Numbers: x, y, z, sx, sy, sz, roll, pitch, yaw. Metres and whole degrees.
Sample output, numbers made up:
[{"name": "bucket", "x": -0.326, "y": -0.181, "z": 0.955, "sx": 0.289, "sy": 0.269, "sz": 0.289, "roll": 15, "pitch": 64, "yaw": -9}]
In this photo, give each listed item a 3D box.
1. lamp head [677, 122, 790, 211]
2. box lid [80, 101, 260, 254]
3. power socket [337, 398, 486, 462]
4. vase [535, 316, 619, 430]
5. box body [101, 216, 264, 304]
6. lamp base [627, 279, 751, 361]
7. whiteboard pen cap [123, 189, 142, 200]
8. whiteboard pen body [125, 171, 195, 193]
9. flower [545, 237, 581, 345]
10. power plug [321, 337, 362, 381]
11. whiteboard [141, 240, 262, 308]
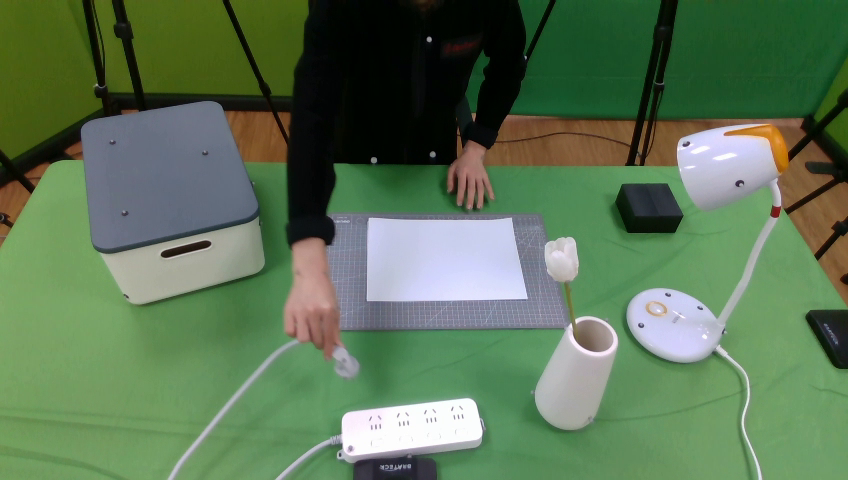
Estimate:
[{"name": "lamp head", "x": 0.423, "y": -0.104, "z": 0.819, "sx": 0.122, "sy": 0.113, "sz": 0.112, "roll": -13, "pitch": 33, "yaw": 39}, {"name": "box lid", "x": -0.461, "y": -0.127, "z": 1.082, "sx": 0.264, "sy": 0.015, "sz": 0.369, "roll": -15, "pitch": 49, "yaw": -19}, {"name": "power socket", "x": -0.017, "y": 0.285, "z": 0.914, "sx": 0.227, "sy": 0.033, "sz": 0.071, "roll": -4, "pitch": 46, "yaw": -8}, {"name": "vase", "x": 0.229, "y": 0.200, "z": 0.901, "sx": 0.098, "sy": 0.201, "sz": 0.097, "roll": 3, "pitch": 46, "yaw": -3}, {"name": "box body", "x": -0.465, "y": -0.076, "z": 1.137, "sx": 0.254, "sy": 0.161, "sz": 0.361, "roll": -16, "pitch": 50, "yaw": -19}, {"name": "lamp base", "x": 0.460, "y": 0.100, "z": 1.027, "sx": 0.178, "sy": 0.181, "sz": 0.160, "roll": 27, "pitch": 51, "yaw": 17}, {"name": "whiteboard pen cap", "x": -0.591, "y": -0.093, "z": 1.231, "sx": 0.033, "sy": 0.018, "sz": 0.018, "roll": -13, "pitch": 49, "yaw": -18}, {"name": "whiteboard pen body", "x": -0.553, "y": -0.119, "z": 1.270, "sx": 0.141, "sy": 0.017, "sz": 0.017, "roll": -18, "pitch": 50, "yaw": -15}, {"name": "flower", "x": 0.213, "y": 0.137, "z": 0.846, "sx": 0.038, "sy": 0.364, "sz": 0.044, "roll": 21, "pitch": 55, "yaw": 40}, {"name": "power plug", "x": -0.120, "y": 0.176, "z": 0.899, "sx": 0.035, "sy": 0.053, "sz": 0.072, "roll": -24, "pitch": 53, "yaw": -20}, {"name": "whiteboard", "x": -0.464, "y": -0.059, "z": 1.137, "sx": 0.217, "sy": 0.144, "sz": 0.303, "roll": -19, "pitch": 51, "yaw": -17}]
